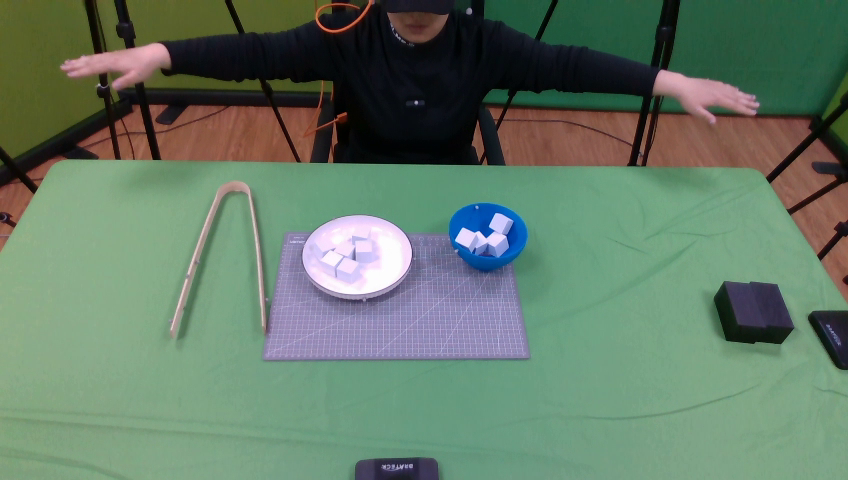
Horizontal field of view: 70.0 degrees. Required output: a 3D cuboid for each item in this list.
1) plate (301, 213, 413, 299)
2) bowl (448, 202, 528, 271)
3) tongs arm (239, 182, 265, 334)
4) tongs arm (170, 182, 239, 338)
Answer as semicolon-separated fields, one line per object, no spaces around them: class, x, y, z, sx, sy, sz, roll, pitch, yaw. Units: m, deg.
plate;-0.124;0.033;1.143;0.208;0.039;0.206;2;46;-2
bowl;0.118;0.006;1.160;0.151;0.077;0.150;2;46;-2
tongs arm;-0.325;0.019;1.151;0.028;0.028;0.384;-11;48;-11
tongs arm;-0.404;0.021;1.138;0.051;0.026;0.382;1;45;-5
